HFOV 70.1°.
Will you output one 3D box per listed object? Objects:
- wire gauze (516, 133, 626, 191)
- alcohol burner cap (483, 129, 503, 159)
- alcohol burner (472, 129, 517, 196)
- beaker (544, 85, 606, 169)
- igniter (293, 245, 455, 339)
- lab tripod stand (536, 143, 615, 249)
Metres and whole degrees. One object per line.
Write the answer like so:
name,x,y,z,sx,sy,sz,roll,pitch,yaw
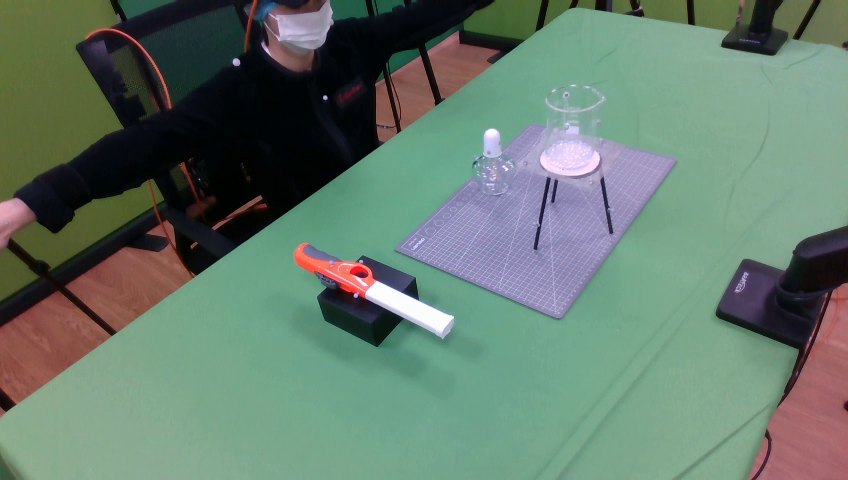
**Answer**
wire gauze,0.217,-0.122,0.893,0.124,0.011,0.122,20,47,32
alcohol burner cap,0.116,-0.163,1.021,0.034,0.048,0.033,-5,35,4
alcohol burner,0.120,-0.136,1.044,0.078,0.119,0.077,-6,39,6
beaker,0.212,-0.158,0.861,0.084,0.101,0.073,-3,41,6
igniter,-0.079,0.066,0.833,0.274,0.025,0.057,23,48,27
lab tripod stand,0.224,-0.069,0.931,0.148,0.132,0.147,-4,42,4
